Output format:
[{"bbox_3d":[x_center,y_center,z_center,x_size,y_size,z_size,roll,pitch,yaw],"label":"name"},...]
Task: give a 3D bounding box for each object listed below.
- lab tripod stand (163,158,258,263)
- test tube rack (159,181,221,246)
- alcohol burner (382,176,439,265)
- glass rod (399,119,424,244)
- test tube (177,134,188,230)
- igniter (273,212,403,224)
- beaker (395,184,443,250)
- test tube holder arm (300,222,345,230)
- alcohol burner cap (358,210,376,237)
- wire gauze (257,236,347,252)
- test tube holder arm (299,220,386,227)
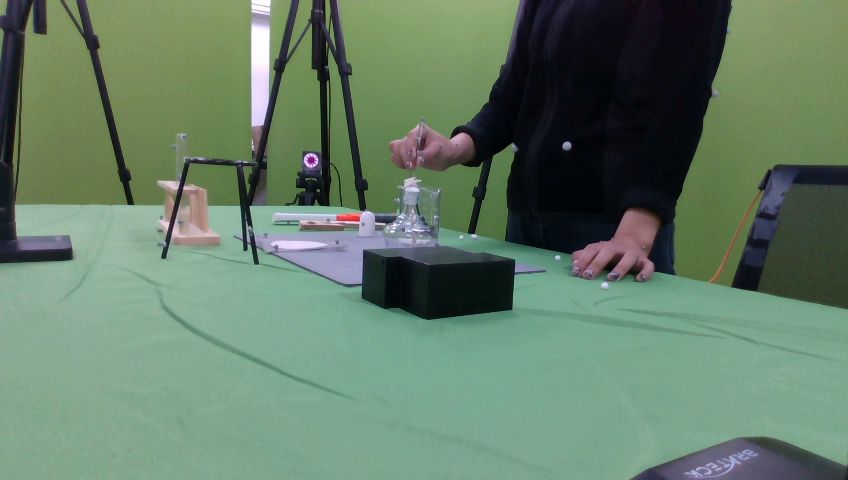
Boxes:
[{"bbox_3d":[-0.265,-0.041,0.802,0.148,0.131,0.148,4,7,0],"label":"lab tripod stand"},{"bbox_3d":[-0.395,-0.050,1.010,0.067,0.085,0.241,-2,8,-28],"label":"test tube rack"},{"bbox_3d":[-0.018,-0.026,0.818,0.078,0.119,0.078,3,9,0],"label":"alcohol burner"},{"bbox_3d":[-0.020,-0.092,0.957,0.008,0.199,0.008,10,3,0],"label":"glass rod"},{"bbox_3d":[-0.374,-0.089,0.938,0.017,0.150,0.017,2,4,0],"label":"test tube"},{"bbox_3d":[-0.179,-0.048,1.290,0.278,0.025,0.057,-1,-2,-24],"label":"igniter"},{"bbox_3d":[-0.007,-0.037,0.964,0.074,0.100,0.083,-4,11,-40],"label":"beaker"},{"bbox_3d":[-0.196,-0.027,1.170,0.088,0.015,0.010,-1,43,-28],"label":"test tube holder arm"},{"bbox_3d":[-0.104,-0.030,1.098,0.034,0.048,0.034,2,7,0],"label":"alcohol burner cap"},{"bbox_3d":[-0.189,0.006,0.931,0.122,0.011,0.124,1,7,-21],"label":"wire gauze"},{"bbox_3d":[-0.159,-0.032,1.196,0.179,0.015,0.013,-2,44,-29],"label":"test tube holder arm"}]
